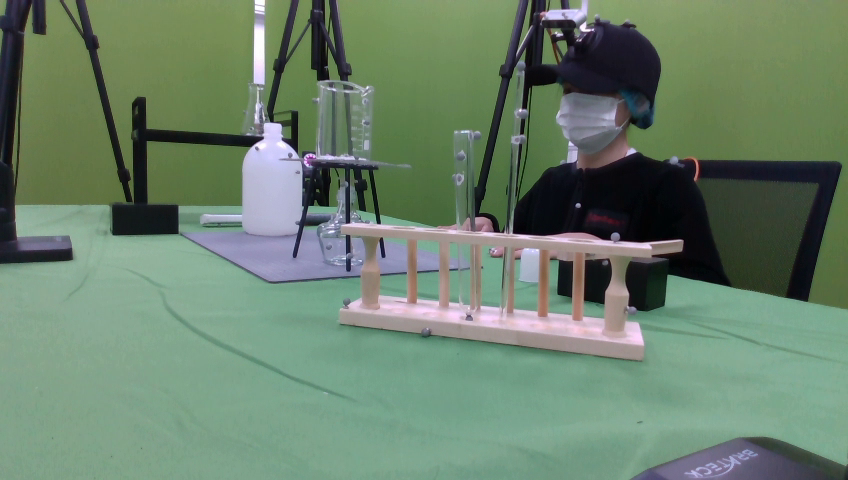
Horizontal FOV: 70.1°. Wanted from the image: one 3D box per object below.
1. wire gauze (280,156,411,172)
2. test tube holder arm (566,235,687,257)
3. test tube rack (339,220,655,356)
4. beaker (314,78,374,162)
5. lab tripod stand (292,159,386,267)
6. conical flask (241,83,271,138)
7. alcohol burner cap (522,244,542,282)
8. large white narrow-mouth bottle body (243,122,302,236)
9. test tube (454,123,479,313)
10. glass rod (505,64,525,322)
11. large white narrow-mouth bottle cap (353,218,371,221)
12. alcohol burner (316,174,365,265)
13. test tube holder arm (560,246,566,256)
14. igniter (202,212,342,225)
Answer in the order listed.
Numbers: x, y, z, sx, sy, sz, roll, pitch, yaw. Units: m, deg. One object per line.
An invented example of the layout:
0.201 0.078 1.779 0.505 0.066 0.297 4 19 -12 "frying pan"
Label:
-0.103 -0.103 0.785 0.121 0.011 0.126 11 8 42 "wire gauze"
0.215 0.006 0.630 0.179 0.015 0.013 -3 10 -30 "test tube holder arm"
0.056 0.032 0.495 0.242 0.085 0.067 4 7 15 "test tube rack"
-0.101 -0.150 0.774 0.074 0.100 0.083 -2 8 -40 "beaker"
-0.105 -0.039 0.798 0.148 0.131 0.148 2 5 0 "lab tripod stand"
-0.384 -0.297 1.393 0.075 0.122 0.075 2 7 0 "conical flask"
0.136 0.026 0.741 0.034 0.048 0.034 1 6 0 "alcohol burner cap"
-0.264 -0.109 1.061 0.102 0.194 0.102 2 8 0 "large white narrow-mouth bottle body"
0.034 -0.016 0.477 0.017 0.150 0.017 -2 9 1 "test tube"
0.069 -0.030 0.458 0.008 0.199 0.008 1 15 0 "glass rod"
-0.121 -0.029 1.184 0.038 0.024 0.037 2 8 0 "large white narrow-mouth bottle cap"
-0.102 -0.028 0.790 0.078 0.119 0.078 0 6 0 "alcohol burner"
0.173 0.007 0.612 0.088 0.015 0.010 -3 9 -30 "test tube holder arm"
-0.298 -0.043 1.216 0.278 0.025 0.057 -3 -2 -32 "igniter"
